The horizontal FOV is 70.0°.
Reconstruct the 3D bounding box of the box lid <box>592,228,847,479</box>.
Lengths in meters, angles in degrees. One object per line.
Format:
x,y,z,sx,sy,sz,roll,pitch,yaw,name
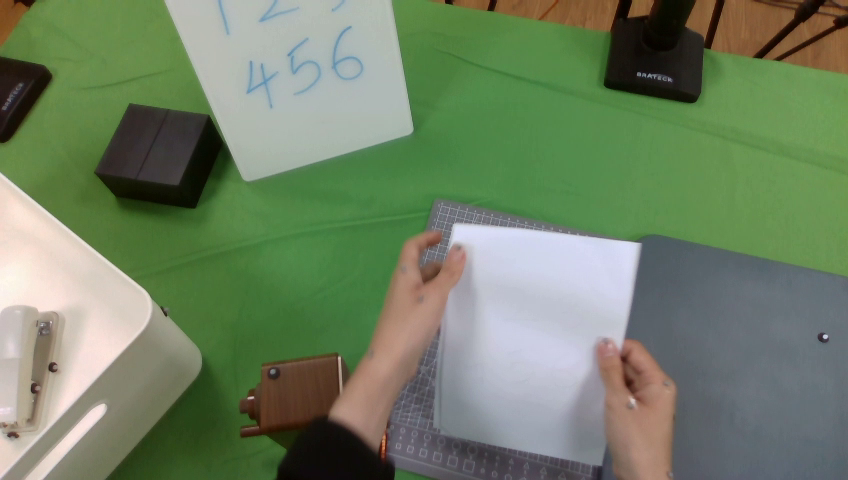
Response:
0.311,0.168,0.597,0.263,0.015,0.369,13,65,6,box lid

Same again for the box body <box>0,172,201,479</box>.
-0.427,0.082,0.562,0.362,0.161,0.253,33,69,15,box body

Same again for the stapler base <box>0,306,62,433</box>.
-0.400,0.126,0.612,0.041,0.024,0.129,-6,66,0,stapler base

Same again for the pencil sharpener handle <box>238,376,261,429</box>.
-0.158,0.150,0.543,0.030,0.068,0.035,-7,48,-2,pencil sharpener handle

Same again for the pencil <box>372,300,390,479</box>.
-0.041,0.151,0.608,0.012,0.012,0.192,1,64,1,pencil

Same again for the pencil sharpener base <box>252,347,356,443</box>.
-0.107,0.146,0.558,0.077,0.108,0.061,-7,63,-2,pencil sharpener base

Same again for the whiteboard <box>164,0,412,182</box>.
-0.156,-0.255,0.681,0.217,0.308,0.142,-18,45,-7,whiteboard

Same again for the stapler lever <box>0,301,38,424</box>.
-0.400,0.116,0.588,0.027,0.040,0.117,-6,66,0,stapler lever
